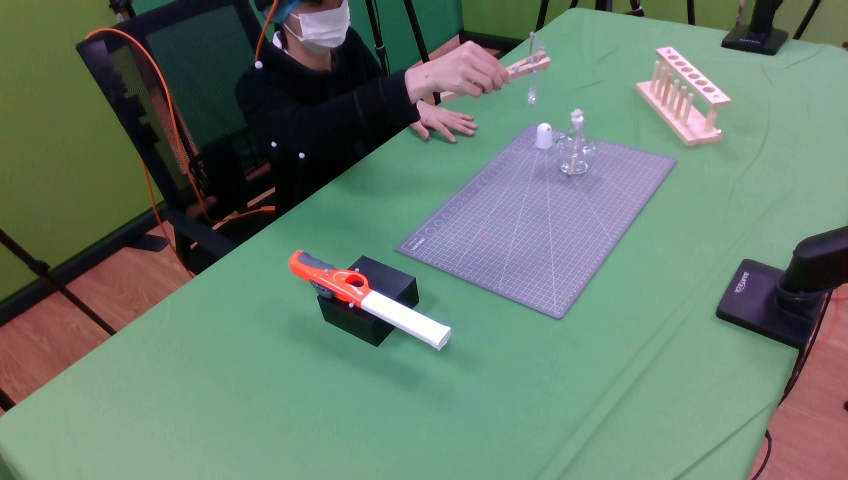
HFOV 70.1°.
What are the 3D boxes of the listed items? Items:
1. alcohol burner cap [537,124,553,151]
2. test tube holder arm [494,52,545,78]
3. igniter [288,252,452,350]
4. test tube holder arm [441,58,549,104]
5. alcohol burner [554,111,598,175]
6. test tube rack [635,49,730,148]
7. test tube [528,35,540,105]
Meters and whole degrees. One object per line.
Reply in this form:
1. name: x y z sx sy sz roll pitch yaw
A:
1. alcohol burner cap: 0.232 -0.199 1.158 0.034 0.048 0.033 -5 40 4
2. test tube holder arm: 0.148 -0.267 0.935 0.088 0.015 0.010 -29 63 -10
3. igniter: -0.084 0.077 0.821 0.274 0.025 0.057 23 48 27
4. test tube holder arm: 0.109 -0.244 0.926 0.179 0.015 0.013 -22 62 -7
5. alcohol burner: 0.270 -0.175 1.066 0.078 0.119 0.077 -4 42 4
6. test tube rack: 0.497 -0.283 1.185 0.067 0.085 0.240 -10 40 -2
7. test tube: 0.173 -0.264 0.954 0.017 0.151 0.017 -3 64 7
